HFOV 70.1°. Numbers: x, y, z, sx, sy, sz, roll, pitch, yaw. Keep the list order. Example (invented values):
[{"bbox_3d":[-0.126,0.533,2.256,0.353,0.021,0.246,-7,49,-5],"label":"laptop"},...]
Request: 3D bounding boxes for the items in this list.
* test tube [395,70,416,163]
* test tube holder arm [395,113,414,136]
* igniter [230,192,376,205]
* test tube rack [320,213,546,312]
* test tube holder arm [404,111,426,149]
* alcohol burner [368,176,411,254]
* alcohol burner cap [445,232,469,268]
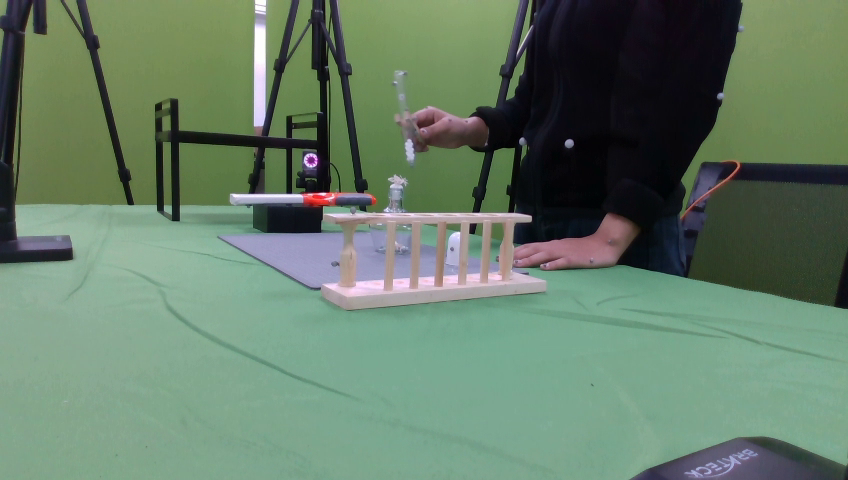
[{"bbox_3d":[-0.030,-0.196,0.962,0.017,0.150,0.017,-8,-4,0],"label":"test tube"},{"bbox_3d":[-0.028,-0.187,0.984,0.010,0.015,0.088,-11,-8,16],"label":"test tube holder arm"},{"bbox_3d":[-0.226,-0.079,1.161,0.278,0.025,0.057,-2,15,-28],"label":"igniter"},{"bbox_3d":[0.018,0.017,0.638,0.244,0.085,0.066,-2,9,-31],"label":"test tube rack"},{"bbox_3d":[-0.013,-0.184,1.027,0.013,0.015,0.179,-10,-8,8],"label":"test tube holder arm"},{"bbox_3d":[-0.045,-0.038,0.913,0.078,0.119,0.078,4,7,0],"label":"alcohol burner"},{"bbox_3d":[0.045,0.013,0.829,0.034,0.048,0.034,2,7,0],"label":"alcohol burner cap"}]
